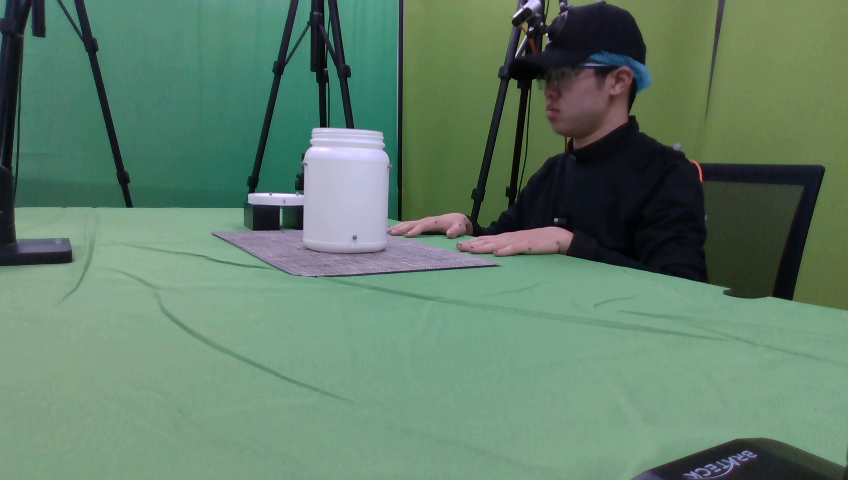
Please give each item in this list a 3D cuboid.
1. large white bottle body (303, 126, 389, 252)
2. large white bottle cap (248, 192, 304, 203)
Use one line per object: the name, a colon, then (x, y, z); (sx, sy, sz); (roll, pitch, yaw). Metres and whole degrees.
large white bottle body: (-0.120, -0.079, 0.936); (0.131, 0.184, 0.130); (2, 7, 0)
large white bottle cap: (-0.294, -0.084, 1.213); (0.115, 0.018, 0.115); (2, 7, 0)
